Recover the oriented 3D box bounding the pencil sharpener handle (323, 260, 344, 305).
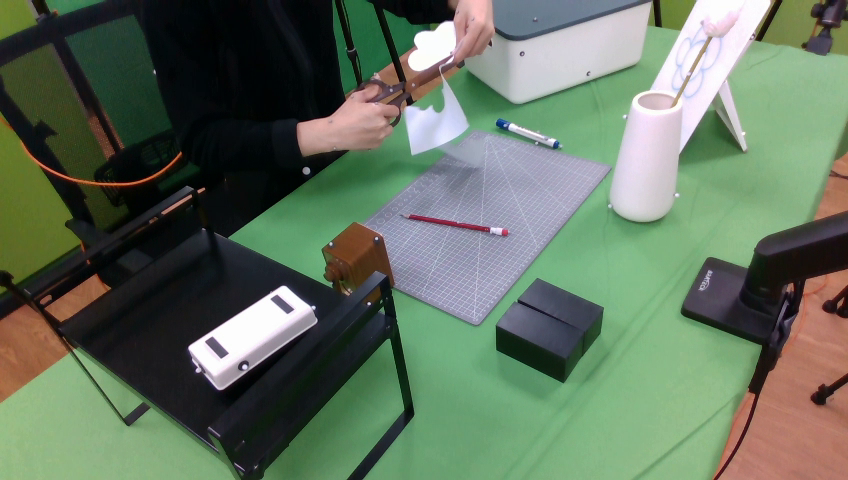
[{"bbox_3d":[-0.131,0.062,0.839,0.035,0.068,0.031,29,56,28],"label":"pencil sharpener handle"}]

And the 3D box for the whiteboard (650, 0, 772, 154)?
[{"bbox_3d":[0.543,-0.298,1.076,0.144,0.305,0.216,12,40,-7],"label":"whiteboard"}]

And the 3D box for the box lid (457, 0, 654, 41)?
[{"bbox_3d":[0.285,-0.522,1.323,0.373,0.015,0.261,-22,43,-16],"label":"box lid"}]

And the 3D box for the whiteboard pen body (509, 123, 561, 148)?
[{"bbox_3d":[0.209,-0.211,1.196,0.139,0.017,0.017,30,52,33],"label":"whiteboard pen body"}]

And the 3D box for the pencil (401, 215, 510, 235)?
[{"bbox_3d":[0.049,-0.027,1.007,0.193,0.012,0.012,9,43,21],"label":"pencil"}]

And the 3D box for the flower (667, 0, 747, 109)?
[{"bbox_3d":[0.354,-0.187,0.879,0.038,0.362,0.044,30,48,14],"label":"flower"}]

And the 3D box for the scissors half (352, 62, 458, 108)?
[{"bbox_3d":[-0.031,-0.246,0.941,0.175,0.040,0.013,-16,34,6],"label":"scissors half"}]

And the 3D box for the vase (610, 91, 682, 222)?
[{"bbox_3d":[0.348,-0.125,0.935,0.098,0.201,0.097,-3,40,3],"label":"vase"}]

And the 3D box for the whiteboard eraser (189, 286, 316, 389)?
[{"bbox_3d":[-0.166,0.096,0.593,0.113,0.042,0.055,-36,47,-29],"label":"whiteboard eraser"}]

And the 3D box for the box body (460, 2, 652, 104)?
[{"bbox_3d":[0.291,-0.465,1.371,0.365,0.161,0.252,-22,42,-16],"label":"box body"}]

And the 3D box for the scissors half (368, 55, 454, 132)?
[{"bbox_3d":[-0.020,-0.230,0.951,0.175,0.040,0.012,-40,24,19],"label":"scissors half"}]

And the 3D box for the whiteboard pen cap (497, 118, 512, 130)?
[{"bbox_3d":[0.165,-0.235,1.227,0.033,0.018,0.018,31,53,30],"label":"whiteboard pen cap"}]

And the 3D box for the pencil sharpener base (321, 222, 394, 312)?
[{"bbox_3d":[-0.096,0.041,0.873,0.061,0.107,0.077,26,54,32],"label":"pencil sharpener base"}]
